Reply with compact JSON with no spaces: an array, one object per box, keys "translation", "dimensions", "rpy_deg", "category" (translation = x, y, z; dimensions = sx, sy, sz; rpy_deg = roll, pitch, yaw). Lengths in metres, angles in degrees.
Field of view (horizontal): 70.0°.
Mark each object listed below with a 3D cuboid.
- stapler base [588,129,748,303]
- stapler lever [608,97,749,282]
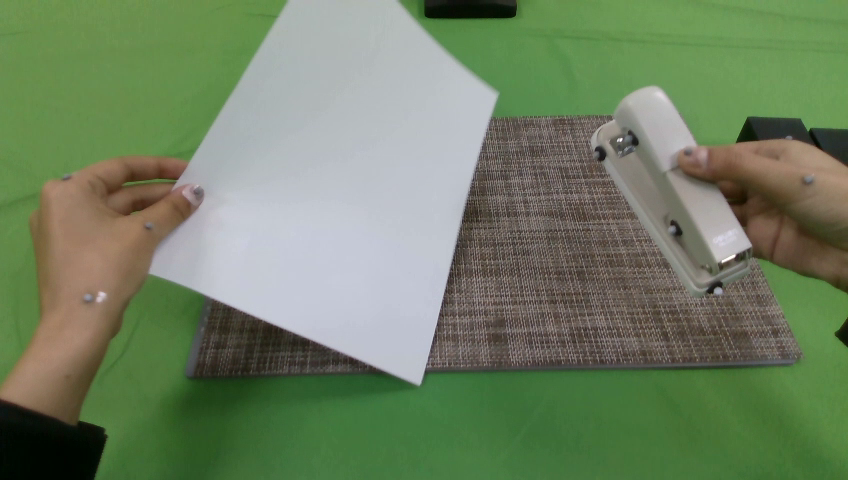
[{"translation":[0.151,-0.025,0.382],"dimensions":[0.041,0.024,0.129],"rpy_deg":[-27,68,-1],"category":"stapler base"},{"translation":[0.149,-0.034,0.358],"dimensions":[0.027,0.040,0.117],"rpy_deg":[-27,67,-1],"category":"stapler lever"}]
